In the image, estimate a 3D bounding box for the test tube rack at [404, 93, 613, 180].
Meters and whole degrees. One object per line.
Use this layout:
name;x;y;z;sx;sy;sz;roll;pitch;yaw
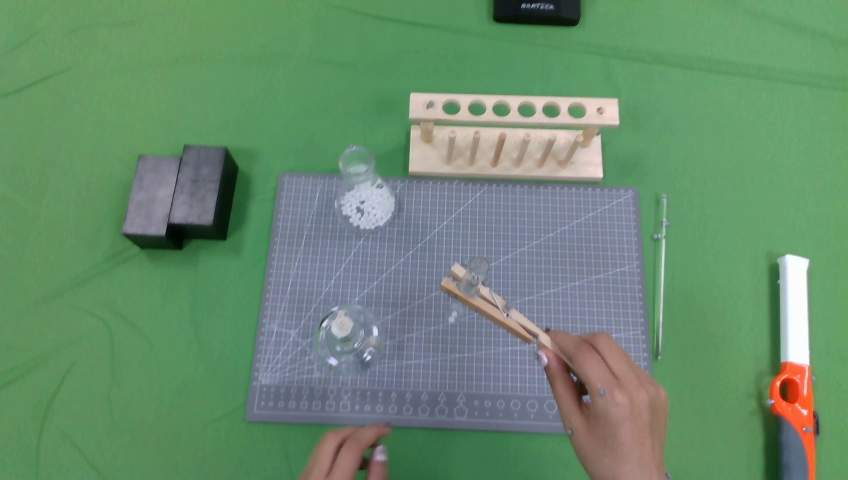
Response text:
test tube rack;0.098;-0.124;0.738;0.242;0.085;0.066;2;71;0

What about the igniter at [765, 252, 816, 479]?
igniter;0.410;0.146;0.680;0.057;0.025;0.275;13;71;-7

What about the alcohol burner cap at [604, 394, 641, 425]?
alcohol burner cap;0.217;0.181;0.654;0.034;0.048;0.033;0;70;0

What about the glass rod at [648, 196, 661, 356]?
glass rod;0.276;0.040;0.724;0.008;0.008;0.198;9;73;2

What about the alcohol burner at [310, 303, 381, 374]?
alcohol burner;-0.085;0.100;0.640;0.078;0.120;0.077;0;69;1

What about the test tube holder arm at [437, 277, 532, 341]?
test tube holder arm;0.051;0.057;0.496;0.087;0.015;0.010;30;74;8

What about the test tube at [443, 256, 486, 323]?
test tube;0.032;0.046;0.513;0.017;0.151;0.017;2;68;-5

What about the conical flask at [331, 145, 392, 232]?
conical flask;-0.076;-0.062;0.691;0.075;0.122;0.075;0;71;0

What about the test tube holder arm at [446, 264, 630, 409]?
test tube holder arm;0.091;0.077;0.491;0.178;0.015;0.013;36;76;9
